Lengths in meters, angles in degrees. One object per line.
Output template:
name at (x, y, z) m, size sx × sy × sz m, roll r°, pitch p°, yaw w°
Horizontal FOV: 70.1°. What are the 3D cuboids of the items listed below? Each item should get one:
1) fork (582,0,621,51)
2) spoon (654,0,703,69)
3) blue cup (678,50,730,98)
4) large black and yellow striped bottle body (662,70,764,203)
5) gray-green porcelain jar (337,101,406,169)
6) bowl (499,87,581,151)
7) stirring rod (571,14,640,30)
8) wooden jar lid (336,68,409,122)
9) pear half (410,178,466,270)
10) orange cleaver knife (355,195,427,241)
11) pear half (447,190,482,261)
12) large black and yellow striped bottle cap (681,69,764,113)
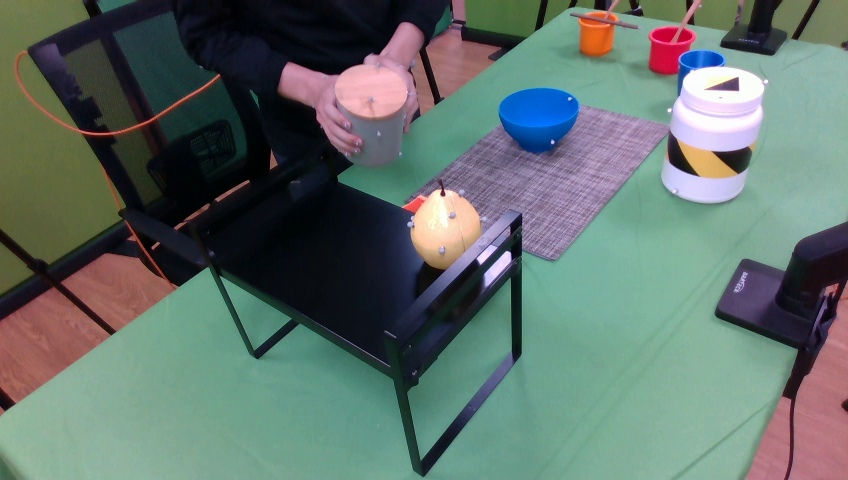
fork at (0.446, -0.539, 1.438) m, size 0.207 × 0.019 × 0.028 m, roll -57°, pitch 36°, yaw 12°
spoon at (0.569, -0.462, 1.335) m, size 0.041 × 0.022 × 0.193 m, roll 34°, pitch 99°, yaw 37°
blue cup at (0.542, -0.310, 1.194) m, size 0.092 × 0.101 × 0.092 m, roll -6°, pitch 41°, yaw 6°
large black and yellow striped bottle body at (0.464, -0.166, 0.976) m, size 0.131 × 0.185 × 0.130 m, roll -5°, pitch 41°, yaw 5°
gray-green porcelain jar at (-0.085, -0.184, 0.963) m, size 0.106 × 0.126 × 0.105 m, roll 4°, pitch 59°, yaw -6°
bowl at (0.220, -0.223, 1.156) m, size 0.151 × 0.077 × 0.150 m, roll -4°, pitch 40°, yaw 4°
stirring rod at (0.419, -0.508, 1.404) m, size 0.174 × 0.006 × 0.014 m, roll 28°, pitch 55°, yaw 35°
wooden jar lid at (-0.078, -0.215, 0.910) m, size 0.109 × 0.021 × 0.108 m, roll 4°, pitch 56°, yaw -6°
pear half at (0.011, -0.019, 0.654) m, size 0.056 × 0.110 × 0.076 m, roll -16°, pitch 37°, yaw -9°
orange cleaver knife at (-0.037, -0.029, 0.973) m, size 0.210 × 0.077 × 0.012 m, roll -8°, pitch 33°, yaw 50°
pear half at (0.046, -0.020, 0.664) m, size 0.031 × 0.088 × 0.070 m, roll -17°, pitch 38°, yaw -9°
large black and yellow striped bottle cap at (0.453, -0.229, 0.921) m, size 0.115 × 0.019 × 0.114 m, roll -4°, pitch 39°, yaw 4°
